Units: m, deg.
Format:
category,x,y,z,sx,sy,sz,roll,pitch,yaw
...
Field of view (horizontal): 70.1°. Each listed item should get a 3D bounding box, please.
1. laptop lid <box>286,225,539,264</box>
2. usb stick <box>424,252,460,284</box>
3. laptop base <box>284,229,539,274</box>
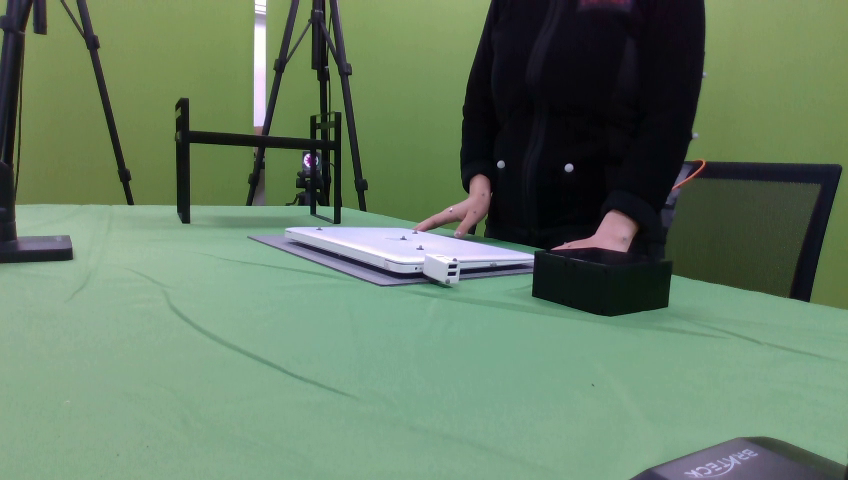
category,x,y,z,sx,sy,sz,roll,pitch,yaw
laptop lid,-0.032,0.002,0.898,0.243,0.013,0.355,0,8,-34
usb stick,0.016,0.030,0.698,0.021,0.027,0.059,-7,13,-32
laptop base,-0.034,0.013,0.898,0.237,0.023,0.352,1,7,-36
